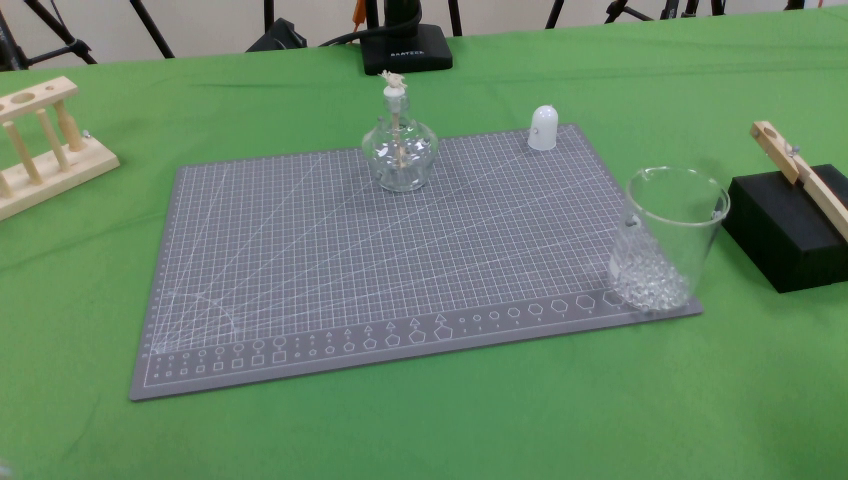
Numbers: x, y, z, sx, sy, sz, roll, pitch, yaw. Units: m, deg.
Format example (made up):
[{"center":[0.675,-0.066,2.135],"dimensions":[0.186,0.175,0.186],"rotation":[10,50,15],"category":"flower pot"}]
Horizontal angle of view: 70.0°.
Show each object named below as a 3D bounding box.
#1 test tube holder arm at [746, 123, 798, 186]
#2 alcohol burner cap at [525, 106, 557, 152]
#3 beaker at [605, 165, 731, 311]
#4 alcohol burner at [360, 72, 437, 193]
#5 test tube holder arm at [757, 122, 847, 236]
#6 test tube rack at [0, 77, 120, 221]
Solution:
[{"center":[0.329,-0.082,0.568],"dimensions":[0.010,0.015,0.087],"rotation":[-10,43,2],"category":"test tube holder arm"},{"center":[0.130,-0.125,0.666],"dimensions":[0.034,0.048,0.033],"rotation":[0,42,1],"category":"alcohol burner cap"},{"center":[0.187,0.000,0.485],"dimensions":[0.074,0.101,0.083],"rotation":[-13,43,-13],"category":"beaker"},{"center":[-0.026,-0.108,0.597],"dimensions":[0.078,0.120,0.077],"rotation":[-2,41,2],"category":"alcohol burner"},{"center":[0.339,-0.053,0.535],"dimensions":[0.013,0.015,0.176],"rotation":[-11,43,1],"category":"test tube holder arm"},{"center":[-0.437,-0.066,0.583],"dimensions":[0.066,0.086,0.242],"rotation":[32,52,31],"category":"test tube rack"}]
